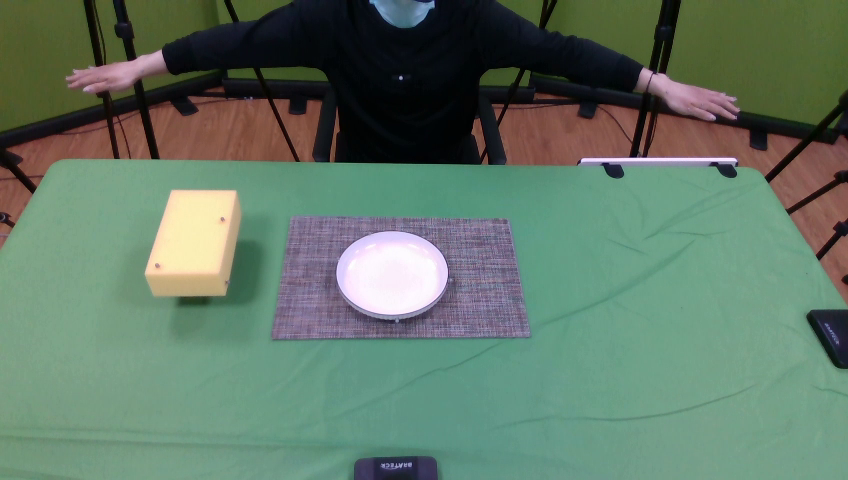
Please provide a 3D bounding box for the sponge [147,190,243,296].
[{"bbox_3d":[-0.398,0.001,1.071,0.118,0.061,0.205,-1,46,-5],"label":"sponge"}]

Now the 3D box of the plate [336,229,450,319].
[{"bbox_3d":[-0.056,0.065,1.113,0.208,0.039,0.206,2,46,-2],"label":"plate"}]
